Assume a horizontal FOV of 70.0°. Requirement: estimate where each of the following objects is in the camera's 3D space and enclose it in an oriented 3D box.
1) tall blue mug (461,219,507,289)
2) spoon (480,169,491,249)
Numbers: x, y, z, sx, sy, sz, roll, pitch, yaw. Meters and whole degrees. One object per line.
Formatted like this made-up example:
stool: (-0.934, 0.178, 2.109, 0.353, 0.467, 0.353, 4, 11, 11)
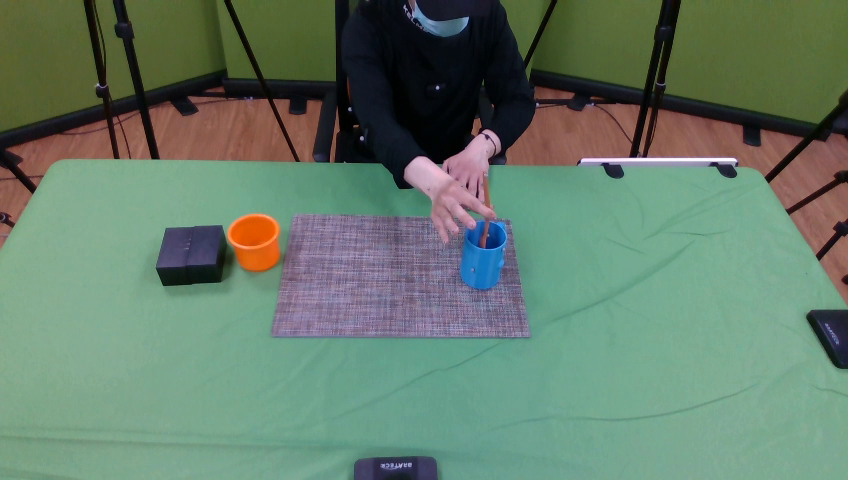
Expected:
tall blue mug: (0.111, 0.016, 1.121, 0.078, 0.108, 0.106, 6, 46, 4)
spoon: (0.109, -0.040, 1.056, 0.021, 0.194, 0.041, -3, 36, -1)
